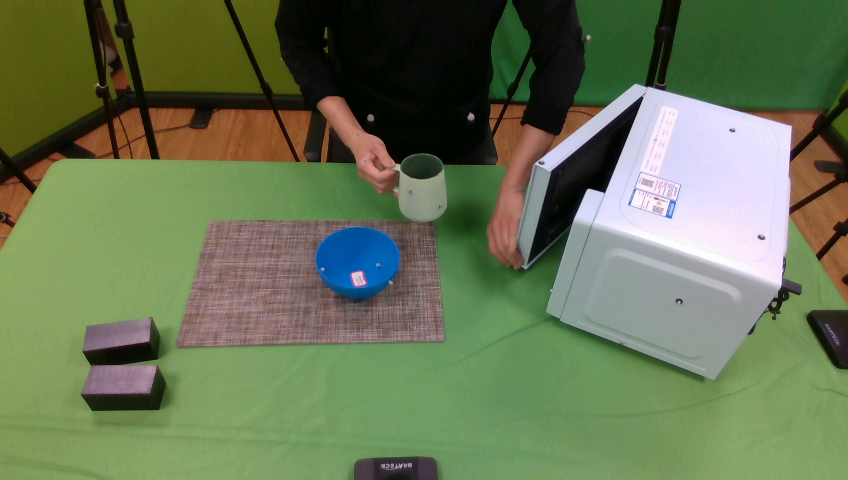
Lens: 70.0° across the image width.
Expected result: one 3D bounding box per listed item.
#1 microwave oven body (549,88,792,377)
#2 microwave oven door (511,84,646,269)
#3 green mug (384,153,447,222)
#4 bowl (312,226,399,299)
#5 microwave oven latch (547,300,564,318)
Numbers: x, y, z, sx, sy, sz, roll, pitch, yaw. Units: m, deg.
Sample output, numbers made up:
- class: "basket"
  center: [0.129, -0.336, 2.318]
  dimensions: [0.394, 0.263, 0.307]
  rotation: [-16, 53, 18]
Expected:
- class: "microwave oven body"
  center: [0.456, -0.028, 1.088]
  dimensions: [0.325, 0.261, 0.440]
  rotation: [20, 47, 16]
- class: "microwave oven door"
  center: [0.302, -0.128, 1.166]
  dimensions: [0.039, 0.245, 0.355]
  rotation: [34, 53, 25]
- class: "green mug"
  center: [-0.018, -0.100, 1.119]
  dimensions: [0.125, 0.105, 0.092]
  rotation: [19, 48, 21]
- class: "bowl"
  center: [-0.120, 0.054, 1.091]
  dimensions: [0.151, 0.077, 0.150]
  rotation: [2, 46, -2]
- class: "microwave oven latch"
  center: [0.242, 0.102, 1.081]
  dimensions: [0.030, 0.029, 0.079]
  rotation: [21, 48, 17]
